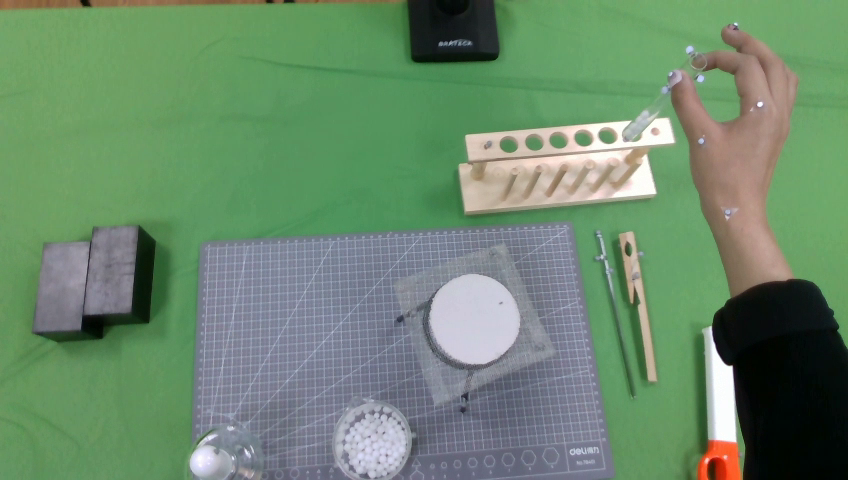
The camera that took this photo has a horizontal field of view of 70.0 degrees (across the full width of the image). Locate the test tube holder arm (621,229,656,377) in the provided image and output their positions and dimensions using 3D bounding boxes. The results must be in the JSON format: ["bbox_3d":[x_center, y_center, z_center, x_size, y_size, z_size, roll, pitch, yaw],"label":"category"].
[{"bbox_3d":[0.253,0.072,0.718,0.013,0.015,0.177,-15,69,27],"label":"test tube holder arm"}]

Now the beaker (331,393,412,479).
[{"bbox_3d":[-0.054,0.199,0.612,0.074,0.101,0.083,-24,73,-12],"label":"beaker"}]

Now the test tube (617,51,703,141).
[{"bbox_3d":[0.205,-0.123,0.540,0.017,0.151,0.017,1,76,-3],"label":"test tube"}]

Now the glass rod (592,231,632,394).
[{"bbox_3d":[0.222,0.082,0.720,0.008,0.008,0.198,-5,71,-5],"label":"glass rod"}]

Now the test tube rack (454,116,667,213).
[{"bbox_3d":[0.164,-0.090,0.736,0.243,0.085,0.066,-6,71,-5],"label":"test tube rack"}]

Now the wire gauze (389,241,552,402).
[{"bbox_3d":[0.042,0.073,0.572,0.121,0.011,0.124,-19,73,-8],"label":"wire gauze"}]

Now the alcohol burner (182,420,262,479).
[{"bbox_3d":[-0.200,0.214,0.589,0.078,0.120,0.077,1,68,-2],"label":"alcohol burner"}]

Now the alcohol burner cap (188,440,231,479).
[{"bbox_3d":[-0.199,0.200,0.556,0.034,0.048,0.033,2,60,-3],"label":"alcohol burner cap"}]

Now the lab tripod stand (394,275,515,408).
[{"bbox_3d":[0.034,0.097,0.634,0.148,0.132,0.147,1,71,-2],"label":"lab tripod stand"}]

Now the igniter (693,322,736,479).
[{"bbox_3d":[0.322,0.228,0.666,0.057,0.025,0.275,11,70,-10],"label":"igniter"}]

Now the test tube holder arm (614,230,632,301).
[{"bbox_3d":[0.244,0.031,0.735,0.010,0.015,0.087,-15,69,27],"label":"test tube holder arm"}]
